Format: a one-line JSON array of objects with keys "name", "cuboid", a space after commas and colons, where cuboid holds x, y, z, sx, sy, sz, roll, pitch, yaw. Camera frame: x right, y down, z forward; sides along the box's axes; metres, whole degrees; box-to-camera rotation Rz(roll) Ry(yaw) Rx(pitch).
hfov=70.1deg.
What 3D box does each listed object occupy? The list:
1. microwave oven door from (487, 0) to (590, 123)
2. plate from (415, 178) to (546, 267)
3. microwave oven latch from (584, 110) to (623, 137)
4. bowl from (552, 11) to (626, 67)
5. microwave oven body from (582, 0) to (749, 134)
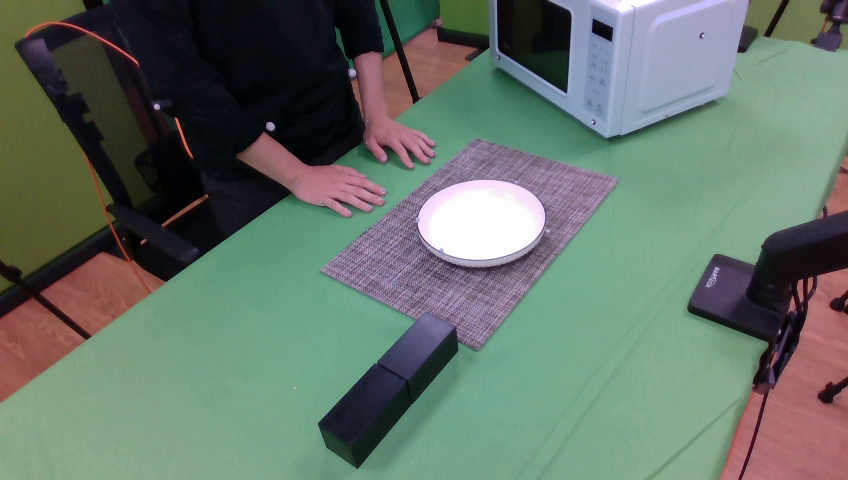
[{"name": "microwave oven door", "cuboid": [0.232, -0.420, 1.230, 0.039, 0.245, 0.352, -22, 43, -16]}, {"name": "plate", "cuboid": [0.091, -0.026, 0.970, 0.207, 0.039, 0.206, -4, 41, 4]}, {"name": "microwave oven latch", "cuboid": [0.337, -0.222, 1.142, 0.030, 0.029, 0.078, -21, 42, -14]}, {"name": "bowl", "cuboid": [0.343, -0.418, 1.278, 0.151, 0.077, 0.150, -1, 41, 1]}, {"name": "microwave oven body", "cuboid": [0.382, -0.444, 1.246, 0.327, 0.261, 0.437, -22, 42, -16]}]
